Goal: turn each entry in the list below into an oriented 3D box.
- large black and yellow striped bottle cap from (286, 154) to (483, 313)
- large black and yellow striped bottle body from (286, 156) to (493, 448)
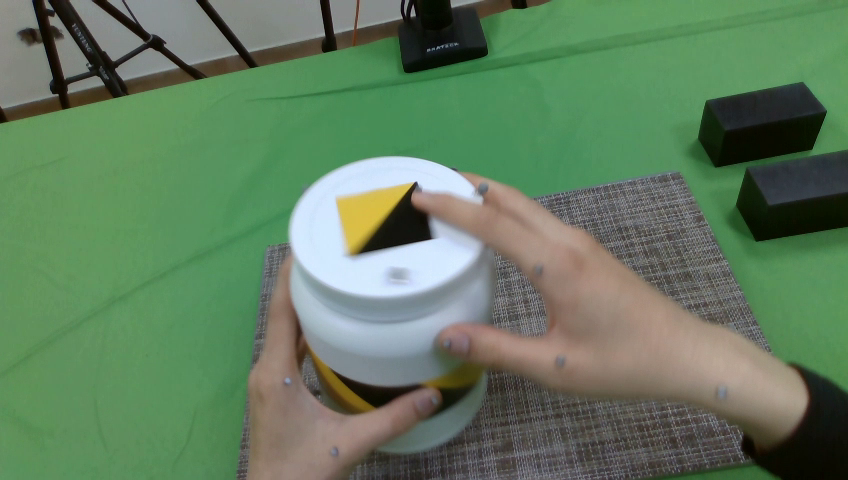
[{"bbox_3d":[-0.023,-0.008,0.354,0.115,0.019,0.114,-1,47,1],"label":"large black and yellow striped bottle cap"},{"bbox_3d":[-0.020,0.046,0.417,0.131,0.185,0.129,-1,48,1],"label":"large black and yellow striped bottle body"}]
